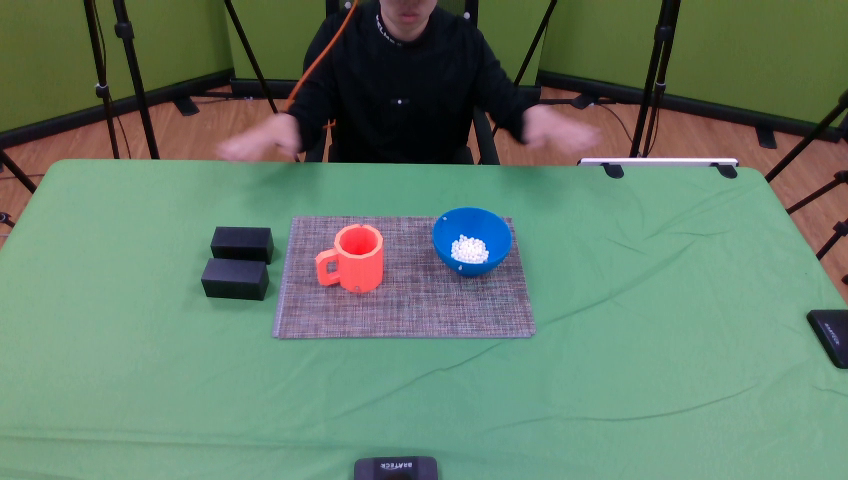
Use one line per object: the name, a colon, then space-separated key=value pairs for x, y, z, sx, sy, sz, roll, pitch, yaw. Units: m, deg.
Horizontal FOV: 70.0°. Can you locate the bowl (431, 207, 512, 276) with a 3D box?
bowl: x=0.086 y=0.016 z=1.147 sx=0.151 sy=0.077 sz=0.150 roll=3 pitch=46 yaw=-2

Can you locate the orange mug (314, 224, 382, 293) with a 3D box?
orange mug: x=-0.135 y=0.038 z=1.094 sx=0.126 sy=0.101 sz=0.083 roll=-14 pitch=49 yaw=-23
